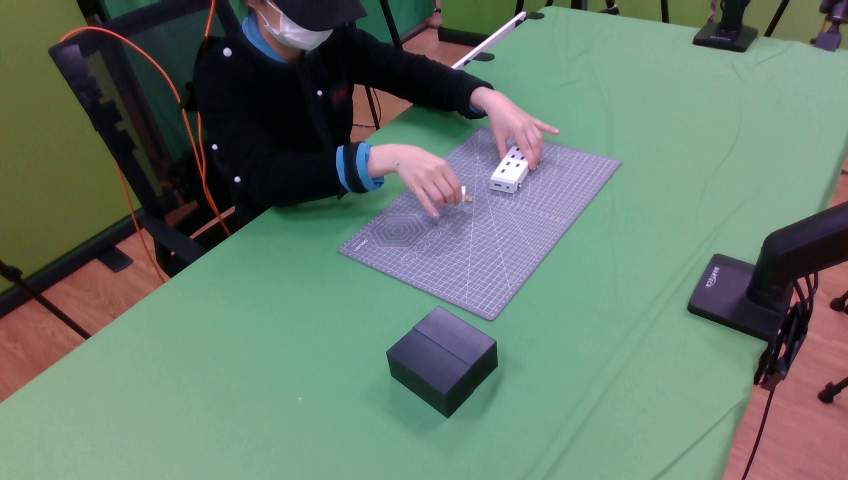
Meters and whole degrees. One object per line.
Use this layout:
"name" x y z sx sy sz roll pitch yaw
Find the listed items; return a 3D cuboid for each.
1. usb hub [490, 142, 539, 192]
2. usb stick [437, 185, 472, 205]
"usb hub" 0.165 -0.132 1.092 0.049 0.025 0.125 15 46 24
"usb stick" 0.053 -0.075 1.012 0.059 0.027 0.021 8 43 -1
